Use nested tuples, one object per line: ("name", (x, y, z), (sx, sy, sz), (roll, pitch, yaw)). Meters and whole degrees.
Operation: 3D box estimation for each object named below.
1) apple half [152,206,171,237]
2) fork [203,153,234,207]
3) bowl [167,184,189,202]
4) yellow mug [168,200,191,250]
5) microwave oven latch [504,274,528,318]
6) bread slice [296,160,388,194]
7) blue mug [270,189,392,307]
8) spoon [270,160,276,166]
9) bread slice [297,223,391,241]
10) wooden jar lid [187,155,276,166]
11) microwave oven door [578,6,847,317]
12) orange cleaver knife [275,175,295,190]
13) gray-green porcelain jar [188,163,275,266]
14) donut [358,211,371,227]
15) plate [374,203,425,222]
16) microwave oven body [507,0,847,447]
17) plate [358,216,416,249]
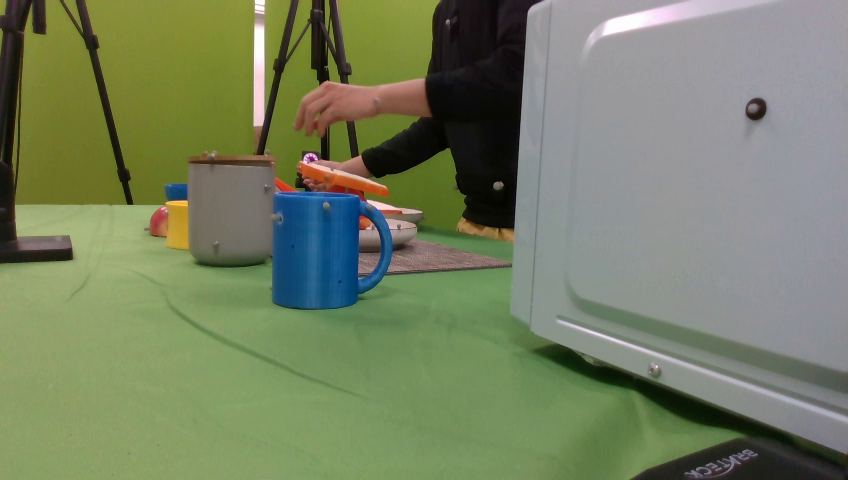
("apple half", (-0.415, -0.034, 1.017), (0.081, 0.053, 0.074), (1, 10, -8))
("fork", (-0.480, -0.135, 1.411), (0.028, 0.018, 0.207), (1, -34, 0))
("bowl", (-0.408, -0.064, 1.154), (0.151, 0.077, 0.151), (2, 8, 0))
("yellow mug", (-0.319, -0.023, 0.904), (0.130, 0.064, 0.100), (8, 10, 36))
("microwave oven latch", (0.100, 0.041, 0.471), (0.079, 0.029, 0.030), (-1, 8, -28))
("bread slice", (-0.132, -0.101, 0.951), (0.132, 0.019, 0.104), (11, 8, -36))
("blue mug", (-0.089, 0.005, 0.588), (0.117, 0.106, 0.082), (0, 7, -10))
("spoon", (-0.396, -0.150, 1.548), (0.042, 0.193, 0.021), (3, -37, -4))
("bread slice", (-0.121, -0.014, 0.970), (0.106, 0.018, 0.135), (9, 9, 40))
("wooden jar lid", (-0.244, -0.097, 0.771), (0.108, 0.020, 0.108), (-1, 7, 0))
("microwave oven door", (0.294, -0.067, 0.570), (0.358, 0.243, 0.039), (-3, 9, -31))
("orange cleaver knife", (-0.283, -0.087, 1.343), (0.212, 0.077, 0.012), (24, -16, -41))
("gray-green porcelain jar", (-0.246, -0.034, 0.779), (0.106, 0.126, 0.106), (1, 7, 0))
("donut", (-0.129, -0.041, 0.956), (0.099, 0.048, 0.099), (2, 7, 0))
("plate", (-0.102, -0.053, 1.299), (0.209, 0.038, 0.209), (2, 8, 0))
("microwave oven body", (0.331, -0.042, 0.425), (0.444, 0.260, 0.324), (-2, 8, -31))
("plate", (-0.116, -0.014, 0.967), (0.208, 0.039, 0.207), (2, 7, 0))
